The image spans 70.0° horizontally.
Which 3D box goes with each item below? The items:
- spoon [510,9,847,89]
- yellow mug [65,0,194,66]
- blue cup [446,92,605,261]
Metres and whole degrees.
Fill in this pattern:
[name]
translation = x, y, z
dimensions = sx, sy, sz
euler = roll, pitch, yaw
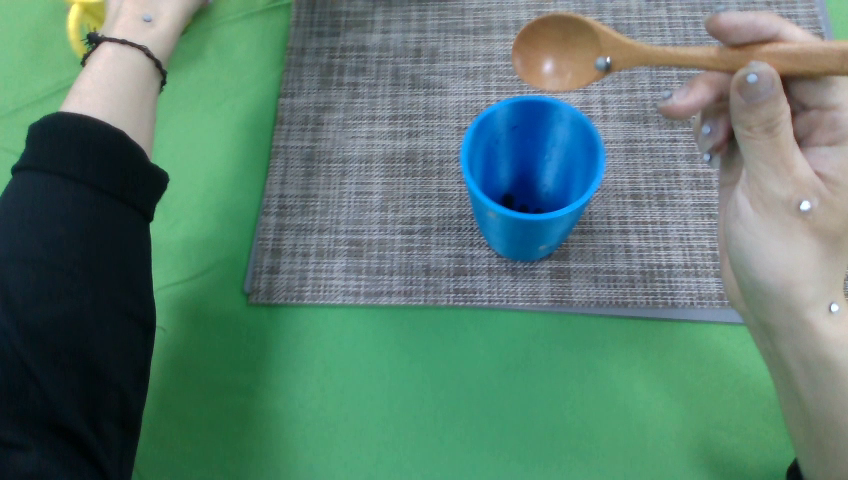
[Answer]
[spoon]
translation = 0.116, -0.083, 0.272
dimensions = 0.022, 0.042, 0.192
euler = -23, 29, -33
[yellow mug]
translation = -0.266, -0.209, 0.521
dimensions = 0.100, 0.064, 0.130
euler = 12, 69, 9
[blue cup]
translation = 0.067, -0.032, 0.399
dimensions = 0.092, 0.101, 0.092
euler = -2, 67, 5
